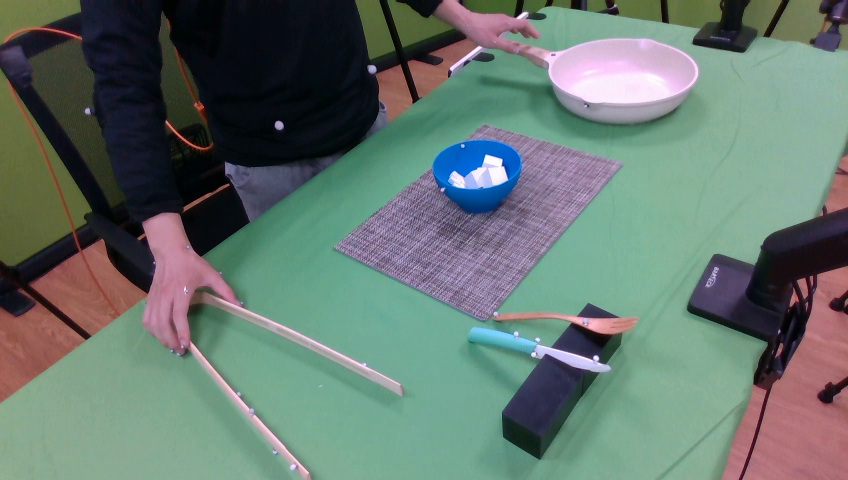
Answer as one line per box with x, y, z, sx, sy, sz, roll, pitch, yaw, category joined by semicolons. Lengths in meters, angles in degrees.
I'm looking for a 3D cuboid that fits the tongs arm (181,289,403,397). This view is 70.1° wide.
-0.192;0.135;0.834;0.385;0.028;0.028;18;49;26;tongs arm

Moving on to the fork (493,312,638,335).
0.173;0.103;0.774;0.206;0.019;0.028;0;41;40;fork

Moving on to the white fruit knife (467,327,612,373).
0.134;0.134;0.742;0.205;0.027;0.016;7;34;41;white fruit knife

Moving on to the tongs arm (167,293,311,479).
-0.245;0.176;0.787;0.381;0.026;0.051;29;51;36;tongs arm

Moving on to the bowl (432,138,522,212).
0.091;-0.100;1.021;0.151;0.077;0.150;-4;41;4;bowl

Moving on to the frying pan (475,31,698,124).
0.320;-0.371;1.290;0.485;0.103;0.307;28;50;23;frying pan
